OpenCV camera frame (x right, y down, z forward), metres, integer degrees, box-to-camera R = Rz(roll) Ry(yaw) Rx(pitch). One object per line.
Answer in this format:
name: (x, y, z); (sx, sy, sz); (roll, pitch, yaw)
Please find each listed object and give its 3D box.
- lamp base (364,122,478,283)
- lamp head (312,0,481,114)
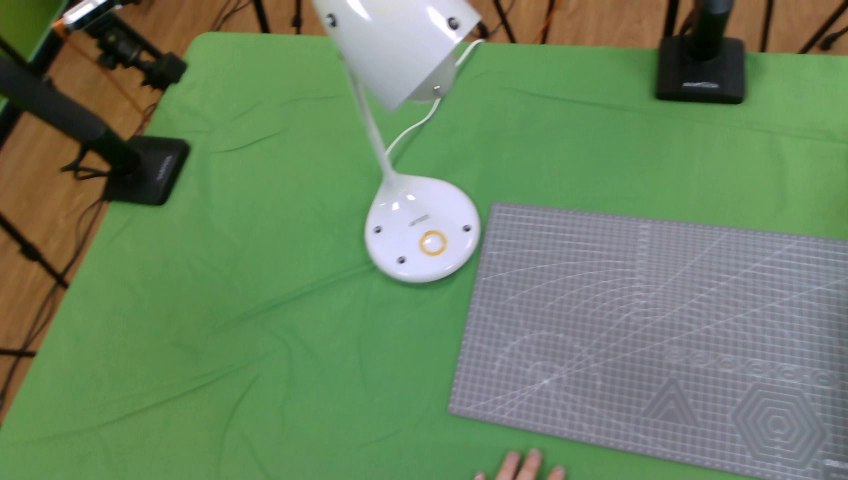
lamp base: (-0.027, -0.057, 0.773); (0.160, 0.182, 0.177); (-37, 59, -9)
lamp head: (-0.033, -0.183, 0.500); (0.123, 0.112, 0.112); (42, 75, -8)
